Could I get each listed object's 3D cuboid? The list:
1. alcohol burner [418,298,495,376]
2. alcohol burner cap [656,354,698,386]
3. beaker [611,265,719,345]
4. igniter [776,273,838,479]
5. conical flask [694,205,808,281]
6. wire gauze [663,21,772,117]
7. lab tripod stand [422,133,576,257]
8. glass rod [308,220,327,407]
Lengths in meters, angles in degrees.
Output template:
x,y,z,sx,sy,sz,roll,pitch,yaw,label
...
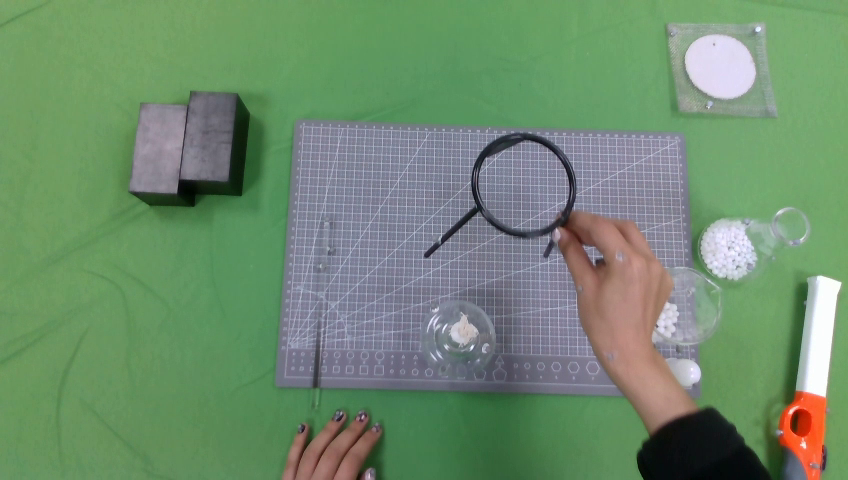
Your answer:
x,y,z,sx,sy,sz,roll,pitch,yaw,label
0.032,0.094,0.595,0.078,0.119,0.077,0,77,0,alcohol burner
0.266,0.135,0.631,0.034,0.048,0.033,0,78,-1,alcohol burner cap
0.240,0.069,0.614,0.084,0.100,0.073,-22,79,-6,beaker
0.402,0.170,0.638,0.057,0.025,0.275,17,78,-9,igniter
0.339,-0.003,0.624,0.075,0.122,0.075,0,77,-1,conical flask
0.352,-0.207,0.724,0.125,0.011,0.121,1,79,-4,wire gauze
0.070,-0.030,0.556,0.149,0.131,0.148,1,81,-8,lab tripod stand
-0.113,0.076,0.647,0.008,0.008,0.199,3,81,-1,glass rod
